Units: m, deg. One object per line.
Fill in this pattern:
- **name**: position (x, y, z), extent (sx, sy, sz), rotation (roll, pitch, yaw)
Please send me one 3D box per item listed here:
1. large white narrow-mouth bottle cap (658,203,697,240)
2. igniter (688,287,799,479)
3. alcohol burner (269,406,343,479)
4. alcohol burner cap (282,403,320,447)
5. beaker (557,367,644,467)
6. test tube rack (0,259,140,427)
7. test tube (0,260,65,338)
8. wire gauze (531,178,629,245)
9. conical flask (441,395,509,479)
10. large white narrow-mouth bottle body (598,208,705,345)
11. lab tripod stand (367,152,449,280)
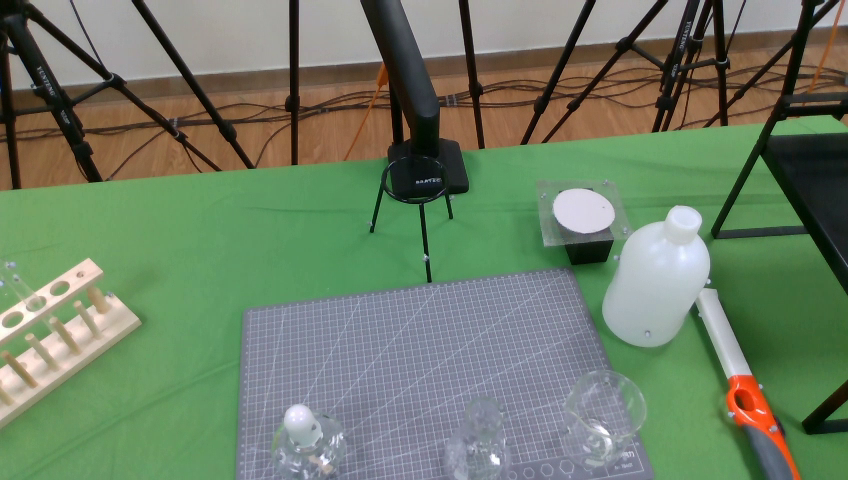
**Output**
- **large white narrow-mouth bottle cap**: position (0.275, -0.020, 0.659), extent (0.038, 0.024, 0.037), rotation (0, 49, 0)
- **igniter**: position (0.374, 0.170, 0.721), extent (0.057, 0.025, 0.273), rotation (4, 49, -10)
- **alcohol burner**: position (-0.124, 0.205, 0.631), extent (0.078, 0.120, 0.077), rotation (1, 48, -1)
- **alcohol burner cap**: position (-0.124, 0.182, 0.602), extent (0.034, 0.048, 0.033), rotation (-3, 50, 4)
- **beaker**: position (0.182, 0.194, 0.650), extent (0.084, 0.101, 0.073), rotation (-3, 49, -1)
- **test tube rack**: position (-0.472, 0.136, 0.710), extent (0.066, 0.086, 0.242), rotation (33, 57, 25)
- **test tube**: position (-0.455, 0.072, 0.699), extent (0.017, 0.151, 0.017), rotation (1, 52, -1)
- **wire gauze**: position (0.216, -0.044, 0.851), extent (0.121, 0.011, 0.124), rotation (-1, 49, -1)
- **conical flask**: position (0.056, 0.204, 0.626), extent (0.075, 0.123, 0.074), rotation (0, 50, 1)
- **large white narrow-mouth bottle body**: position (0.276, 0.037, 0.724), extent (0.102, 0.196, 0.101), rotation (0, 49, 1)
- **lab tripod stand**: position (-0.013, -0.039, 0.829), extent (0.148, 0.132, 0.147), rotation (1, 50, -1)
